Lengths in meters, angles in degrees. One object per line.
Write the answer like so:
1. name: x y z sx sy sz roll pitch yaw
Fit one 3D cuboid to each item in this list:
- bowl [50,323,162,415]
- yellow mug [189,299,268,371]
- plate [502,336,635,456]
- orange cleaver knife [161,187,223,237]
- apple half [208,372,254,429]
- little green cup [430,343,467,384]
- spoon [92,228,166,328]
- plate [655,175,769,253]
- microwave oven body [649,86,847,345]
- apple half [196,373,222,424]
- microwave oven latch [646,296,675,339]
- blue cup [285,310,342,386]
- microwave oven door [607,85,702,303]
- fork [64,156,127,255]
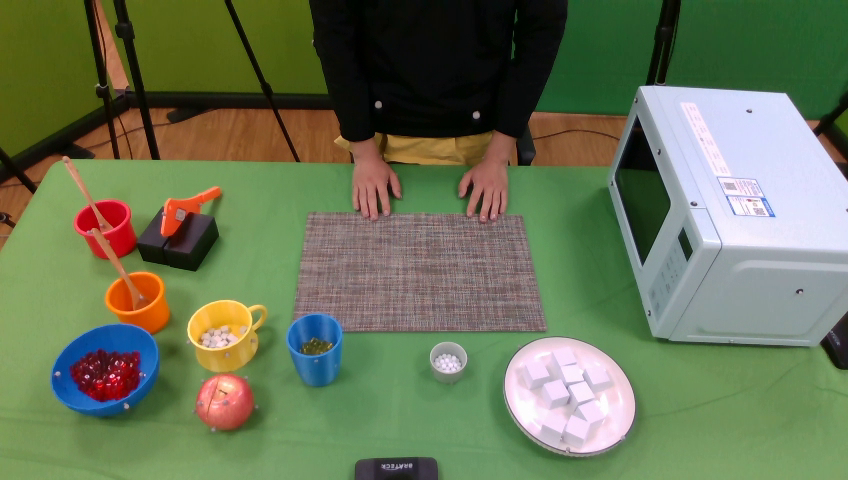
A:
1. bowl: -0.472 0.209 0.924 0.151 0.077 0.150 3 45 -2
2. yellow mug: -0.316 0.148 1.002 0.131 0.064 0.099 -32 56 -31
3. plate: 0.225 0.248 0.963 0.208 0.039 0.206 2 46 -2
4. orange cleaver knife: -0.448 -0.058 1.180 0.012 0.077 0.211 13 17 6
5. apple half: -0.283 0.244 0.908 0.053 0.075 0.080 7 42 -1
6. little green cup: 0.039 0.203 0.994 0.061 0.039 0.061 2 46 -2
7. spoon: -0.495 0.063 1.014 0.041 0.194 0.021 -34 12 -31
8. plate: 0.555 -0.047 1.183 0.209 0.038 0.208 1 45 -1
9. microwave oven body: 0.568 -0.053 1.118 0.326 0.261 0.439 2 45 -1
10. apple half: -0.322 0.239 0.907 0.033 0.081 0.081 7 46 -1
11. microwave oven latch: 0.412 0.134 1.061 0.030 0.029 0.078 4 45 1
12. blue cup: -0.170 0.179 0.958 0.093 0.101 0.092 1 44 -1
13. microwave oven door: 0.423 -0.094 1.141 0.039 0.245 0.353 2 46 -1
14. fork: -0.614 -0.064 1.130 0.028 0.018 0.207 -29 97 -16
